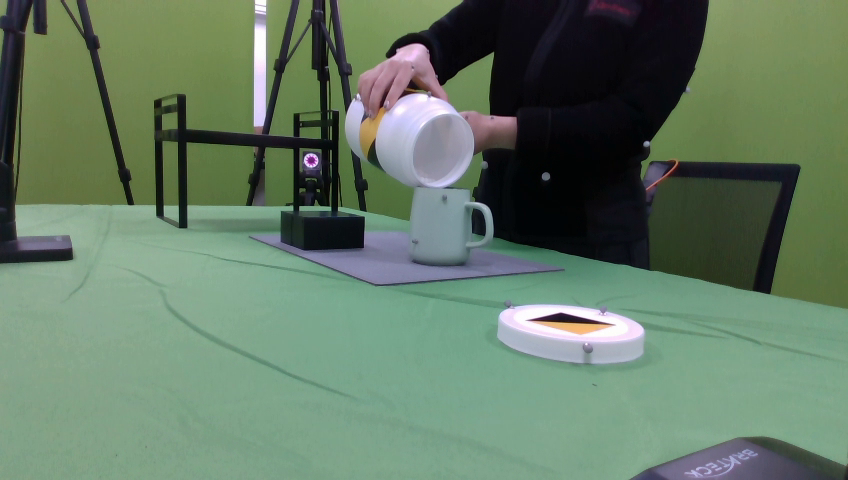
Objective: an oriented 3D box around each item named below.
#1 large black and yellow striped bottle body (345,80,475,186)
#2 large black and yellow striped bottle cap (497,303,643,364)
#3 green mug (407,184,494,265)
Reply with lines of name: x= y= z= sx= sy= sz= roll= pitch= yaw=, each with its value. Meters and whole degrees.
large black and yellow striped bottle body: x=-0.022 y=-0.156 z=0.891 sx=0.131 sy=0.130 sz=0.183 roll=-3 pitch=24 yaw=-35
large black and yellow striped bottle cap: x=0.117 y=0.072 z=0.486 sx=0.115 sy=0.019 sz=0.115 roll=1 pitch=8 yaw=0
green mug: x=0.038 y=-0.021 z=0.827 sx=0.125 sy=0.105 sz=0.093 roll=7 pitch=8 yaw=30
